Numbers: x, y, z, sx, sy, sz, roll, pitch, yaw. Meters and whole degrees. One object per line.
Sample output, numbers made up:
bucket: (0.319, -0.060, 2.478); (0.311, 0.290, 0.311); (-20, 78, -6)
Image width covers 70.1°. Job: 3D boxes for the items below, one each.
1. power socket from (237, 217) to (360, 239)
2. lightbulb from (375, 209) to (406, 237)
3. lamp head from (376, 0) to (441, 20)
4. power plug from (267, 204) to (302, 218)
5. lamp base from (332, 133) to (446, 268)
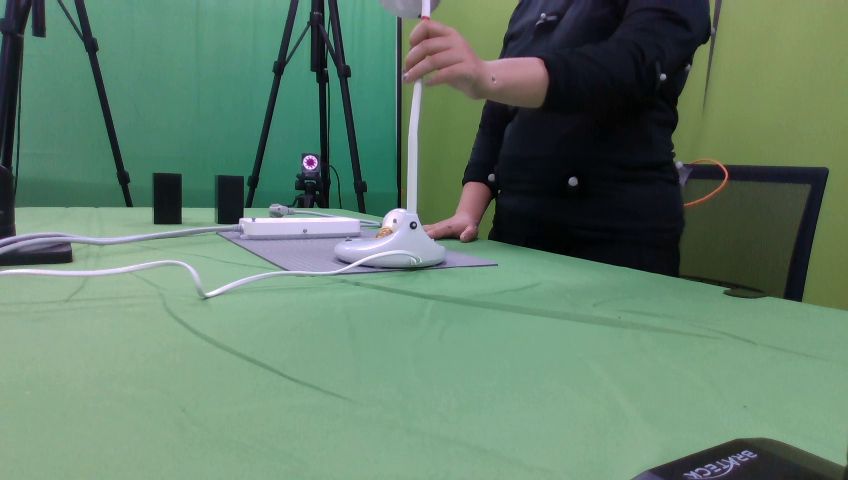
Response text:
power socket: (-0.221, -0.023, 1.080); (0.228, 0.032, 0.072); (-2, 8, -32)
lightbulb: (-0.052, -0.016, 1.023); (0.059, 0.059, 0.108); (6, 23, 21)
lamp head: (-0.011, -0.373, 0.823); (0.113, 0.112, 0.122); (1, 0, -14)
power plug: (-0.327, -0.060, 1.404); (0.073, 0.035, 0.052); (22, -14, -25)
lamp base: (-0.038, -0.058, 0.834); (0.161, 0.180, 0.178); (-2, 11, -32)
